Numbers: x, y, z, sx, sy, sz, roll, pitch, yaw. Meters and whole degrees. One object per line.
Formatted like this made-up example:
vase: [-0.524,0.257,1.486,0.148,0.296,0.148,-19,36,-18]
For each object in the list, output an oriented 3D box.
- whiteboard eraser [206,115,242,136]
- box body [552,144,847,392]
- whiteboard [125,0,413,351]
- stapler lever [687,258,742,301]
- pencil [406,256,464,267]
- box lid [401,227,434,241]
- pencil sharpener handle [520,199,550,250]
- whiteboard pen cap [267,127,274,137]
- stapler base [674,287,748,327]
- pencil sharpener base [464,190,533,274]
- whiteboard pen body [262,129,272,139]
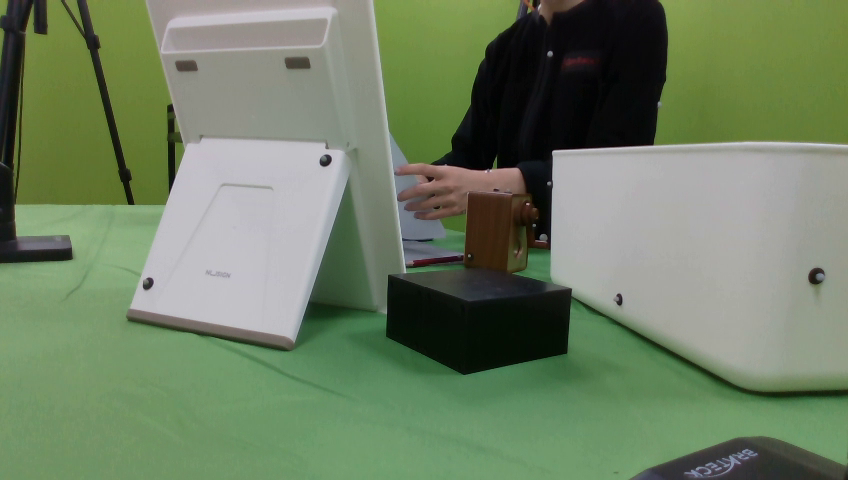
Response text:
whiteboard eraser: [-0.438,-0.249,1.320,0.056,0.042,0.112,-3,9,-30]
box body: [0.290,0.002,0.549,0.255,0.160,0.363,2,7,-10]
whiteboard: [-0.151,-0.050,0.471,0.216,0.305,0.144,6,27,24]
stapler lever: [0.283,0.035,0.585,0.026,0.040,0.119,10,8,37]
pencil: [0.041,0.027,0.850,0.195,0.012,0.012,-4,10,-44]
box lid: [-0.196,-0.015,1.105,0.373,0.015,0.262,-1,7,-32]
pencil sharpener handle: [0.147,-0.019,0.785,0.030,0.068,0.036,8,26,36]
whiteboard pen cap: [-0.340,-0.239,1.337,0.018,0.018,0.033,1,-1,-15]
stapler base: [0.281,0.061,0.586,0.041,0.024,0.131,10,8,37]
pencil sharpener base: [0.103,-0.012,0.812,0.076,0.107,0.061,8,8,36]
whiteboard pen body: [-0.361,-0.245,1.393,0.017,0.017,0.140,0,5,-20]
